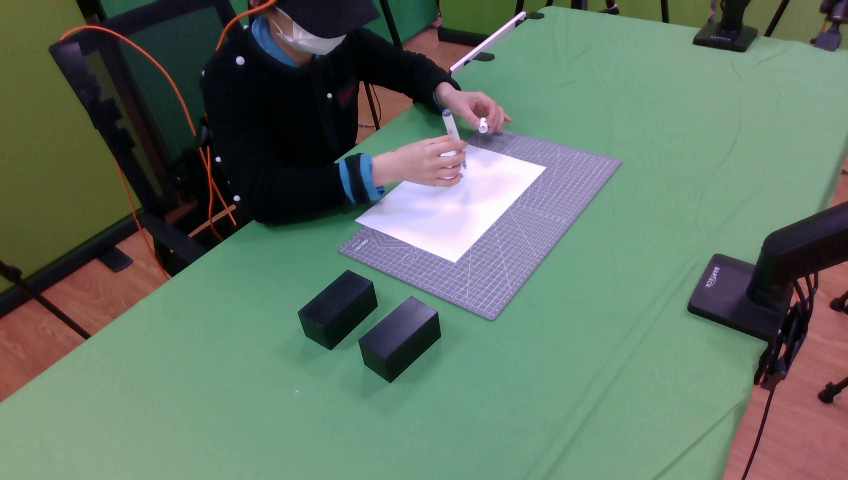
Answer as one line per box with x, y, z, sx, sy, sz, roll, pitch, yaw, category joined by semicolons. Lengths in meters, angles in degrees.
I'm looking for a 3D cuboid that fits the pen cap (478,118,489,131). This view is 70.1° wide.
0.112;-0.216;1.132;0.017;0.017;0.038;3;29;12;pen cap

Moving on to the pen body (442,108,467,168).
0.054;-0.166;1.018;0.017;0.145;0.017;-9;56;14;pen body
